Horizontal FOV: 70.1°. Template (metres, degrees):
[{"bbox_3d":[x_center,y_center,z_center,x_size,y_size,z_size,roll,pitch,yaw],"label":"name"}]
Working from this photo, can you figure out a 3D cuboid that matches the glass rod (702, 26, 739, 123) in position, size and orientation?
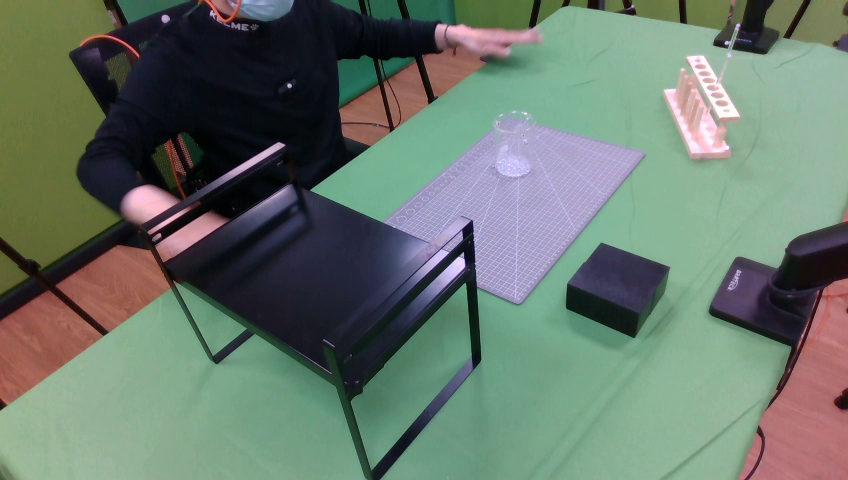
[{"bbox_3d":[0.526,-0.287,1.078,0.008,0.200,0.008,-2,49,3],"label":"glass rod"}]

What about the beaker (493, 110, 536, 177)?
[{"bbox_3d":[0.165,-0.172,1.082,0.084,0.101,0.073,-34,47,-28],"label":"beaker"}]

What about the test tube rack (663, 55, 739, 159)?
[{"bbox_3d":[0.518,-0.256,1.144,0.066,0.085,0.241,-1,41,8],"label":"test tube rack"}]
